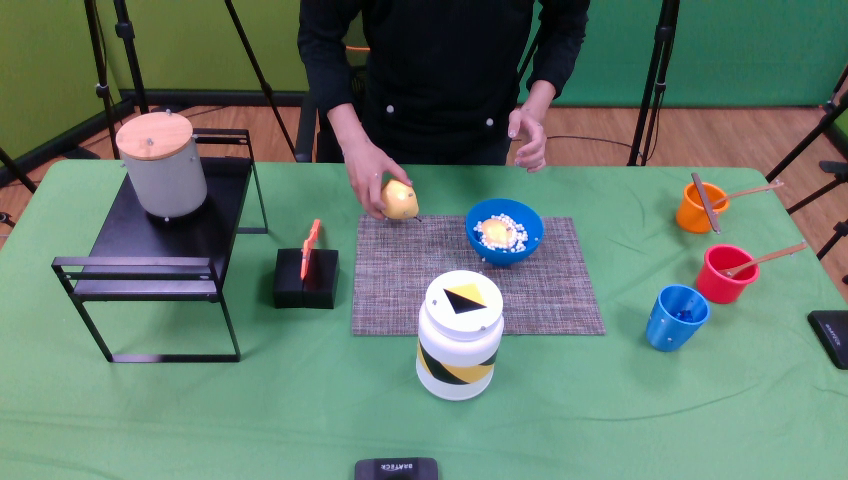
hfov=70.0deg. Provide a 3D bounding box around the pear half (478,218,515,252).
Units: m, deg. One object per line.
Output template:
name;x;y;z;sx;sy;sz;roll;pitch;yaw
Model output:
pear half;0.144;-0.013;1.167;0.070;0.031;0.087;-21;55;-21

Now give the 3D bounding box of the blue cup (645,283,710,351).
blue cup;0.426;0.139;1.041;0.093;0.100;0.092;4;46;-3

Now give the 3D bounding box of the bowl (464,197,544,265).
bowl;0.149;-0.004;1.167;0.151;0.077;0.150;2;46;-2

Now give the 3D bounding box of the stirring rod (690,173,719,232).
stirring rod;0.566;-0.079;1.225;0.014;0.006;0.175;2;45;2

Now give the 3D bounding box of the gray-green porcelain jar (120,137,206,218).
gray-green porcelain jar;-0.403;-0.106;0.946;0.106;0.127;0.105;3;46;-2

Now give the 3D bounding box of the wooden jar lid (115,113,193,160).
wooden jar lid;-0.399;-0.151;0.900;0.108;0.021;0.107;3;46;-3

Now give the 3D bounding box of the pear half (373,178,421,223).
pear half;-0.044;-0.065;1.170;0.110;0.076;0.055;38;19;-19

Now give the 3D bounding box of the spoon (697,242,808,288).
spoon;0.601;0.045;1.116;0.194;0.022;0.041;-29;34;30

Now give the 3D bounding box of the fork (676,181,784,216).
fork;0.618;-0.083;1.235;0.207;0.019;0.028;-23;21;38

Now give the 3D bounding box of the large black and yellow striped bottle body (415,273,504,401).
large black and yellow striped bottle body;0.054;0.150;0.943;0.131;0.185;0.130;2;46;-2

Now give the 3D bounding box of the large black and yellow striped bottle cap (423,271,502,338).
large black and yellow striped bottle cap;0.057;0.092;0.883;0.115;0.019;0.114;3;45;-3

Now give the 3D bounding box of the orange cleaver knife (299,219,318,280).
orange cleaver knife;-0.214;0.013;1.126;0.012;0.077;0.210;6;17;-5
